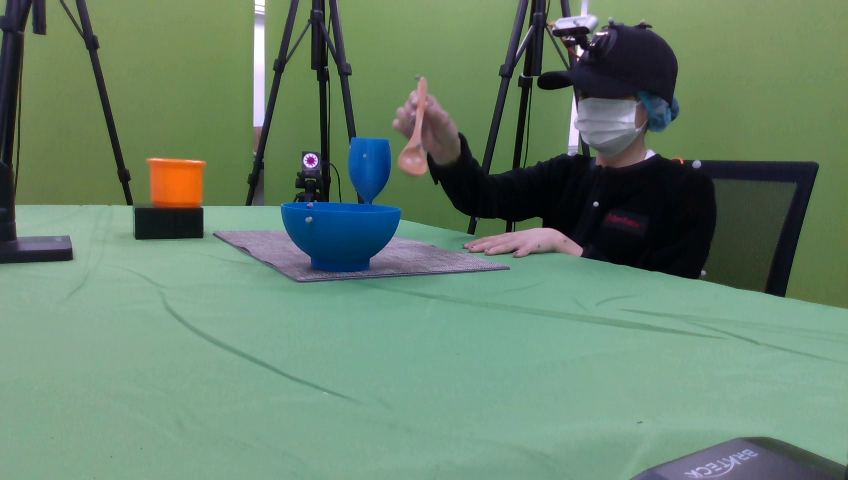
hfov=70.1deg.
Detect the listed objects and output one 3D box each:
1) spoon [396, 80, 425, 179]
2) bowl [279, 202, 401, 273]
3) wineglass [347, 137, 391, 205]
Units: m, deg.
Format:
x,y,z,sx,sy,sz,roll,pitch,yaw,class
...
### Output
x,y,z,sx,sy,sz,roll,pitch,yaw,class
-0.010,-0.161,0.858,0.042,0.193,0.021,14,-32,-11,spoon
-0.105,-0.003,0.756,0.151,0.077,0.151,3,7,0,bowl
-0.092,-0.081,0.996,0.074,0.172,0.073,3,7,0,wineglass
